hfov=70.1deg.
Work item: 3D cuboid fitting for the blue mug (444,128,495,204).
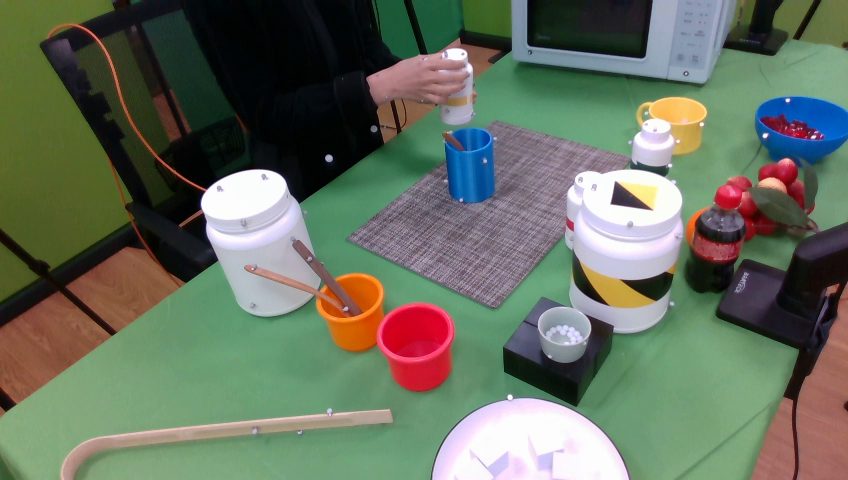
[{"bbox_3d":[0.081,-0.139,1.058,0.082,0.106,0.116,-4,40,4],"label":"blue mug"}]

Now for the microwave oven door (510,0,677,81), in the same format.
[{"bbox_3d":[0.354,-0.478,1.290,0.353,0.245,0.039,15,45,25],"label":"microwave oven door"}]

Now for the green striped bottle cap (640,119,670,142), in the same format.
[{"bbox_3d":[0.371,-0.175,0.968,0.044,0.020,0.044,-4,41,4],"label":"green striped bottle cap"}]

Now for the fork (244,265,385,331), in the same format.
[{"bbox_3d":[-0.142,0.078,0.806,0.209,0.018,0.028,30,33,-24],"label":"fork"}]

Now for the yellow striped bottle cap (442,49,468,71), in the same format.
[{"bbox_3d":[0.053,-0.308,1.035,0.044,0.019,0.044,-3,45,4],"label":"yellow striped bottle cap"}]

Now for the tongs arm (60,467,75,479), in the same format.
[{"bbox_3d":[-0.239,0.301,0.648,0.386,0.028,0.028,6,49,16],"label":"tongs arm"}]

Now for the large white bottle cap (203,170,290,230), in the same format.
[{"bbox_3d":[-0.241,-0.057,0.822,0.115,0.018,0.114,-4,41,4],"label":"large white bottle cap"}]

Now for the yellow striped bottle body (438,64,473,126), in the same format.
[{"bbox_3d":[0.056,-0.269,1.071,0.063,0.121,0.062,-2,43,2],"label":"yellow striped bottle body"}]

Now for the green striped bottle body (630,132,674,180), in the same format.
[{"bbox_3d":[0.376,-0.135,1.001,0.063,0.120,0.063,-5,41,5],"label":"green striped bottle body"}]

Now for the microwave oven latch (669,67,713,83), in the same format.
[{"bbox_3d":[0.556,-0.348,1.261,0.078,0.029,0.030,16,46,27],"label":"microwave oven latch"}]

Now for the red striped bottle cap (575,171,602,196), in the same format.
[{"bbox_3d":[0.242,-0.081,0.876,0.044,0.018,0.044,-5,44,5],"label":"red striped bottle cap"}]

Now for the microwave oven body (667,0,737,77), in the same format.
[{"bbox_3d":[0.462,-0.552,1.369,0.439,0.261,0.326,15,45,26],"label":"microwave oven body"}]

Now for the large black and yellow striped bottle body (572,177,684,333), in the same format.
[{"bbox_3d":[0.262,0.017,0.788,0.131,0.185,0.130,-5,40,4],"label":"large black and yellow striped bottle body"}]

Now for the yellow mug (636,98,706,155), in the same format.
[{"bbox_3d":[0.453,-0.217,1.128,0.100,0.064,0.129,-34,46,-27],"label":"yellow mug"}]

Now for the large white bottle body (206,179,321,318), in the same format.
[{"bbox_3d":[-0.233,0.007,0.876,0.130,0.185,0.130,-5,40,4],"label":"large white bottle body"}]

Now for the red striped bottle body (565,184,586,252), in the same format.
[{"bbox_3d":[0.247,-0.041,0.910,0.063,0.120,0.062,-3,39,3],"label":"red striped bottle body"}]

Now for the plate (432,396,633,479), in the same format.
[{"bbox_3d":[0.112,0.261,0.634,0.209,0.038,0.208,-5,40,4],"label":"plate"}]

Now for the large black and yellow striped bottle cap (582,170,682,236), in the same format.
[{"bbox_3d":[0.252,-0.048,0.735,0.115,0.019,0.114,-3,40,3],"label":"large black and yellow striped bottle cap"}]

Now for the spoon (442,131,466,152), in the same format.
[{"bbox_3d":[0.062,-0.144,1.000,0.041,0.195,0.021,11,79,23],"label":"spoon"}]

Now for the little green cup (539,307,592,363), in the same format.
[{"bbox_3d":[0.167,0.114,0.721,0.061,0.039,0.061,-4,43,4],"label":"little green cup"}]

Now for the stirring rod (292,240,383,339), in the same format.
[{"bbox_3d":[-0.118,0.068,0.826,0.176,0.006,0.014,49,59,-4],"label":"stirring rod"}]

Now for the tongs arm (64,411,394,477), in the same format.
[{"bbox_3d":[-0.228,0.241,0.715,0.385,0.026,0.050,-5,43,4],"label":"tongs arm"}]

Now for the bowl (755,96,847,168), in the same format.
[{"bbox_3d":[0.645,-0.177,1.041,0.151,0.077,0.150,-5,40,4],"label":"bowl"}]
